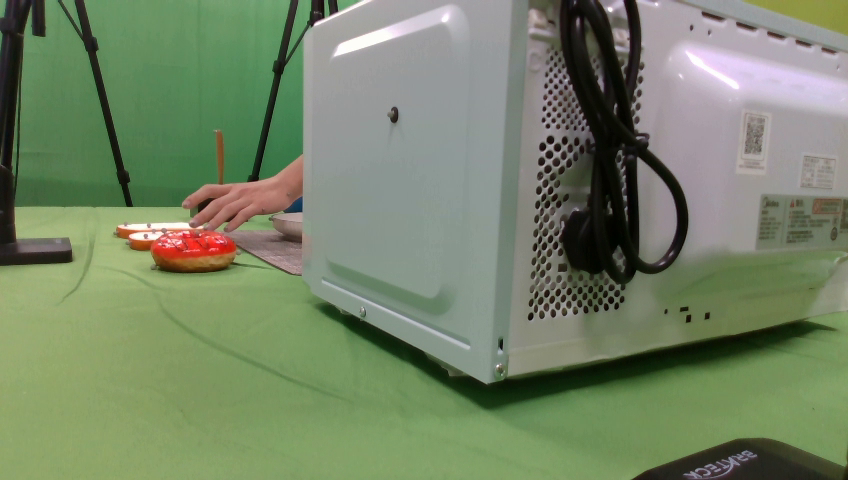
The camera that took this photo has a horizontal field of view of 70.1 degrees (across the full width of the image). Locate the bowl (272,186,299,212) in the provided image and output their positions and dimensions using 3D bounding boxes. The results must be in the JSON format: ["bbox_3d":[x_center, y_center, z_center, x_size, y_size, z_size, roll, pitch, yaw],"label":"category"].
[{"bbox_3d":[-0.254,-0.076,1.318,0.151,0.077,0.151,2,7,0],"label":"bowl"}]

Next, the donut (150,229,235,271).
[{"bbox_3d":[-0.285,0.013,0.747,0.099,0.048,0.099,3,10,0],"label":"donut"}]

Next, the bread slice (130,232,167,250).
[{"bbox_3d":[-0.370,0.001,0.916,0.135,0.018,0.106,-1,7,-32],"label":"bread slice"}]

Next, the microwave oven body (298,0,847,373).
[{"bbox_3d":[0.151,-0.055,0.542,0.444,0.260,0.324,-1,7,-33],"label":"microwave oven body"}]

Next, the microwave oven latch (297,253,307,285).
[{"bbox_3d":[-0.082,0.027,0.582,0.079,0.029,0.030,-1,7,-32],"label":"microwave oven latch"}]

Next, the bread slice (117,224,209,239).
[{"bbox_3d":[-0.443,-0.015,1.023,0.104,0.019,0.132,8,8,44],"label":"bread slice"}]

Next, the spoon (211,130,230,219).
[{"bbox_3d":[-0.436,-0.138,1.296,0.042,0.193,0.021,-3,23,-27],"label":"spoon"}]

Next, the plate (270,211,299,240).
[{"bbox_3d":[-0.163,-0.023,1.058,0.208,0.039,0.207,3,7,0],"label":"plate"}]

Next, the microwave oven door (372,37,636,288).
[{"bbox_3d":[0.110,-0.080,0.686,0.358,0.243,0.039,-2,9,-33],"label":"microwave oven door"}]
